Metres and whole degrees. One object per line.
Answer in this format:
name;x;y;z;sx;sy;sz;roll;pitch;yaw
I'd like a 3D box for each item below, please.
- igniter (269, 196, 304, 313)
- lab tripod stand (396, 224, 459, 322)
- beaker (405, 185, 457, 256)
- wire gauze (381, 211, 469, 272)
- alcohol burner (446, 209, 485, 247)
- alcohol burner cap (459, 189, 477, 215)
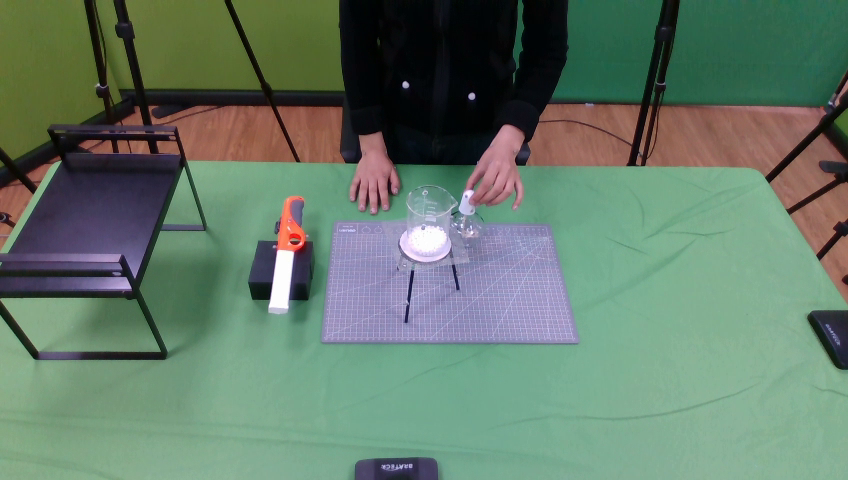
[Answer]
igniter;-0.249;0.016;1.095;0.057;0.025;0.274;8;46;-13
lab tripod stand;-0.003;0.052;1.067;0.148;0.132;0.147;3;47;-3
beaker;0.009;-0.029;0.988;0.084;0.101;0.073;-1;47;-5
wire gauze;0.000;0.001;1.024;0.125;0.011;0.120;-11;48;-12
alcohol burner;0.082;-0.043;1.179;0.078;0.120;0.077;2;45;-1
alcohol burner cap;0.086;-0.074;1.147;0.034;0.048;0.033;4;44;-4
